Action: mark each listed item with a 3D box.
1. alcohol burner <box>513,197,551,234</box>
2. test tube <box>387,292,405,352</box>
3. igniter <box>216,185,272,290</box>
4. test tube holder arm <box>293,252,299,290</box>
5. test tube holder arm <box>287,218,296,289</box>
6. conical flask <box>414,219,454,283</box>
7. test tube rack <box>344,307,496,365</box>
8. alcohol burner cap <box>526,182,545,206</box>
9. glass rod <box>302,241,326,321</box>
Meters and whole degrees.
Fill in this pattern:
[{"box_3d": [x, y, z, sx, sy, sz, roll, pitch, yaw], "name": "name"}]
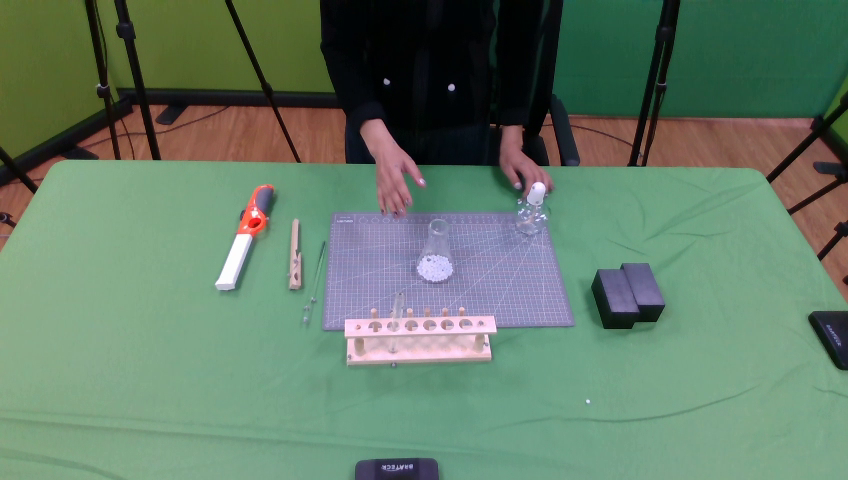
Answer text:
[{"box_3d": [0.220, -0.069, 1.217, 0.078, 0.119, 0.077, 3, 47, -3], "name": "alcohol burner"}, {"box_3d": [-0.045, 0.133, 0.955, 0.017, 0.151, 0.017, 5, 47, -5], "name": "test tube"}, {"box_3d": [-0.347, -0.014, 1.182, 0.057, 0.025, 0.275, -1, 45, 8], "name": "igniter"}, {"box_3d": [-0.241, 0.056, 1.131, 0.010, 0.015, 0.087, 24, 35, -33], "name": "test tube holder arm"}, {"box_3d": [-0.253, 0.022, 1.158, 0.013, 0.015, 0.177, 23, 36, -34], "name": "test tube holder arm"}, {"box_3d": [0.022, 0.016, 1.112, 0.075, 0.122, 0.075, 2, 46, -2], "name": "conical flask"}, {"box_3d": [-0.009, 0.154, 1.007, 0.242, 0.085, 0.066, -1, 46, -5], "name": "test tube rack"}, {"box_3d": [0.222, -0.092, 1.189, 0.034, 0.048, 0.033, 2, 54, -3], "name": "alcohol burner cap"}, {"box_3d": [-0.203, 0.071, 1.124, 0.008, 0.008, 0.198, 4, 44, 1], "name": "glass rod"}]
